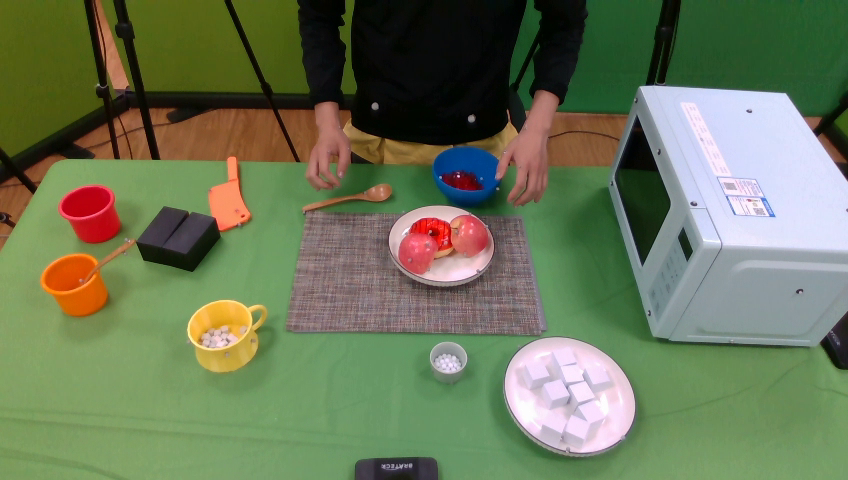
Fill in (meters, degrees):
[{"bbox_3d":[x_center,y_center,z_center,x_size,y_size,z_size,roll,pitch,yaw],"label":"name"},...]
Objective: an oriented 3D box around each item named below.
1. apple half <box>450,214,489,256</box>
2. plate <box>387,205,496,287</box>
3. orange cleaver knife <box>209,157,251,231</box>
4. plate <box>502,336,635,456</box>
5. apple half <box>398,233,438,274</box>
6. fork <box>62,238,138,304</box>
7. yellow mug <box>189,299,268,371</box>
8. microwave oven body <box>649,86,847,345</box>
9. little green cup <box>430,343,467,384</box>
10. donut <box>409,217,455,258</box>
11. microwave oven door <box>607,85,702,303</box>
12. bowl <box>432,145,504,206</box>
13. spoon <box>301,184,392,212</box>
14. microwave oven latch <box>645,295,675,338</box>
[{"bbox_3d":[0.092,-0.014,1.158,0.075,0.053,0.080,35,39,-28],"label":"apple half"},{"bbox_3d":[0.033,0.014,1.171,0.209,0.038,0.208,2,46,-2],"label":"plate"},{"bbox_3d":[-0.409,-0.099,1.266,0.077,0.012,0.210,-14,50,-10],"label":"orange cleaver knife"},{"bbox_3d":[0.225,0.248,0.964,0.208,0.039,0.206,2,46,-2],"label":"plate"},{"bbox_3d":[-0.016,0.022,1.123,0.081,0.033,0.081,-2,83,14],"label":"apple half"},{"bbox_3d":[-0.547,0.053,1.018,0.207,0.019,0.028,-36,41,23],"label":"fork"},{"bbox_3d":[-0.316,0.148,1.002,0.131,0.064,0.099,-33,56,-31],"label":"yellow mug"},{"bbox_3d":[0.568,-0.053,1.118,0.326,0.261,0.439,2,45,-1],"label":"microwave oven body"},{"bbox_3d":[0.039,0.203,0.994,0.061,0.039,0.061,2,46,-2],"label":"little green cup"},{"bbox_3d":[0.019,-0.006,1.174,0.099,0.048,0.098,2,44,-2],"label":"donut"},{"bbox_3d":[0.423,-0.094,1.141,0.039,0.245,0.353,2,46,-1],"label":"microwave oven door"},{"bbox_3d":[0.091,-0.124,1.286,0.151,0.077,0.150,2,46,-2],"label":"bowl"},{"bbox_3d":[-0.162,-0.087,1.270,0.194,0.022,0.041,-11,63,-15],"label":"spoon"},{"bbox_3d":[0.412,0.134,1.061,0.030,0.029,0.078,3,45,0],"label":"microwave oven latch"}]
